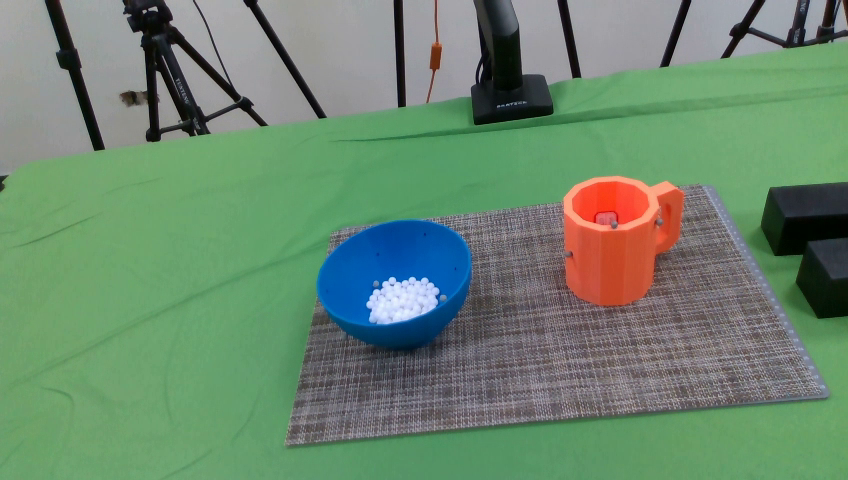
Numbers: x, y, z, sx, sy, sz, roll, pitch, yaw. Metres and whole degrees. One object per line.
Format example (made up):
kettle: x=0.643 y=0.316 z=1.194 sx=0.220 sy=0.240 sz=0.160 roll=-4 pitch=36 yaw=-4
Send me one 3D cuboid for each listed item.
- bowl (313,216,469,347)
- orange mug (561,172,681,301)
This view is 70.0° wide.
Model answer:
bowl: x=-0.025 y=0.052 z=0.596 sx=0.151 sy=0.077 sz=0.150 roll=-8 pitch=39 yaw=7
orange mug: x=0.194 y=-0.011 z=0.597 sx=0.126 sy=0.102 sz=0.082 roll=-25 pitch=41 yaw=-9
